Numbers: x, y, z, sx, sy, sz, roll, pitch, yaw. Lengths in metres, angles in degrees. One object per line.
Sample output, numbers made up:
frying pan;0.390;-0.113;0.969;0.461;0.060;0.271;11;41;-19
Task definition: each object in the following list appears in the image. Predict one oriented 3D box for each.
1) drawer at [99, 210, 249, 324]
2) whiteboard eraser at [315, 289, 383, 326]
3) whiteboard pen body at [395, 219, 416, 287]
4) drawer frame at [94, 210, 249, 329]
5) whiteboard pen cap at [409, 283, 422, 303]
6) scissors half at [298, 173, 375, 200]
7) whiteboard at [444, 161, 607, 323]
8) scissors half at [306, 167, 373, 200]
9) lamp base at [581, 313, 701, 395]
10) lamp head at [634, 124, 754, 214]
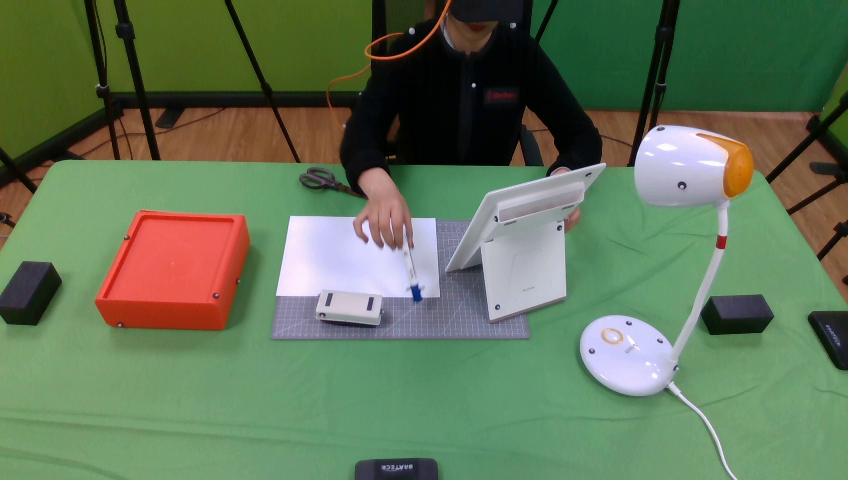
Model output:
drawer;-0.435;0.044;1.081;0.194;0.073;0.210;3;47;-2
whiteboard eraser;-0.130;0.119;1.054;0.113;0.042;0.055;6;47;1
whiteboard pen body;-0.030;0.033;1.043;0.017;0.141;0.017;-12;7;1
drawer frame;-0.435;0.048;1.076;0.202;0.083;0.212;2;47;-3
whiteboard pen cap;-0.015;0.091;1.050;0.018;0.033;0.018;-14;9;2
scissors half;-0.188;-0.110;1.296;0.175;0.013;0.040;15;42;5
whiteboard;0.185;0.025;1.029;0.217;0.306;0.143;-14;68;-18
scissors half;-0.180;-0.121;1.311;0.174;0.013;0.040;27;39;18
lamp base;0.361;0.144;0.972;0.178;0.181;0.160;34;53;23
lamp head;0.351;-0.089;0.776;0.112;0.113;0.122;-30;30;-28
